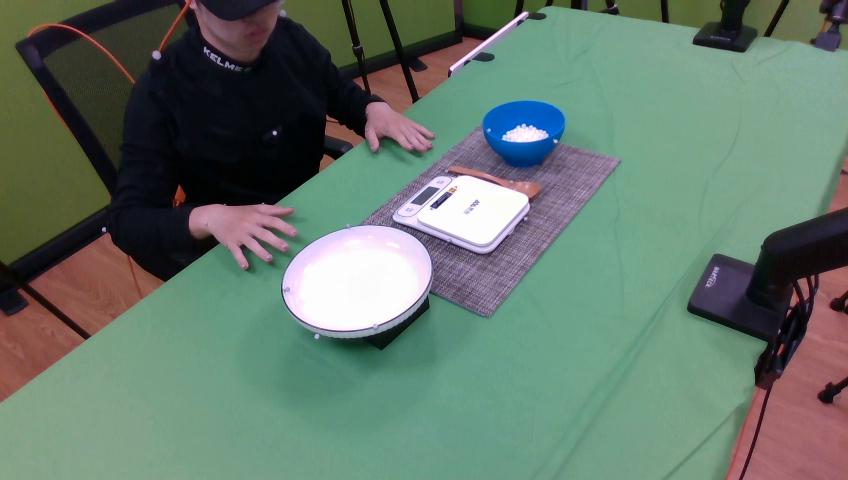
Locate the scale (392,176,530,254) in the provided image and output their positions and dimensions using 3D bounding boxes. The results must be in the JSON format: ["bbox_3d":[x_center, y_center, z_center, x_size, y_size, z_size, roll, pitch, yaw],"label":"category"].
[{"bbox_3d":[0.060,-0.050,1.006,0.199,0.032,0.149,22,48,30],"label":"scale"}]

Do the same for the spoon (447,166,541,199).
[{"bbox_3d":[0.120,-0.107,1.071,0.192,0.022,0.041,23,64,31],"label":"spoon"}]

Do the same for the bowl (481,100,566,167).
[{"bbox_3d":[0.183,-0.187,1.111,0.151,0.077,0.150,-4,41,4],"label":"bowl"}]

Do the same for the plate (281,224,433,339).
[{"bbox_3d":[-0.089,0.057,0.825,0.209,0.038,0.208,-4,40,4],"label":"plate"}]
